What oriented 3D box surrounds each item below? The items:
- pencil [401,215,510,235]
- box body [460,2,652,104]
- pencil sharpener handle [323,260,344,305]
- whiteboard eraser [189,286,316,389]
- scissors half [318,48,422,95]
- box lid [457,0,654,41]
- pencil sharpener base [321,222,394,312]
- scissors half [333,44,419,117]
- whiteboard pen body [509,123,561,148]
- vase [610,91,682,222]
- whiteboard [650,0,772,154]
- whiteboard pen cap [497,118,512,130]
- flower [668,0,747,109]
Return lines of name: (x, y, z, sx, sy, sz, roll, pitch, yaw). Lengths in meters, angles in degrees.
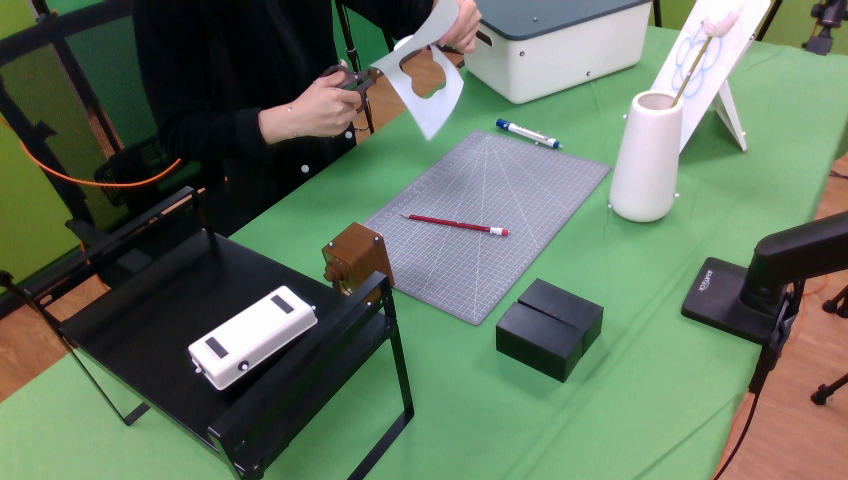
pencil: (0.049, -0.027, 1.007, 0.193, 0.012, 0.012, 10, 43, 21)
box body: (0.291, -0.465, 1.371, 0.365, 0.161, 0.252, -22, 42, -16)
pencil sharpener handle: (-0.131, 0.062, 0.839, 0.035, 0.068, 0.031, 29, 55, 28)
whiteboard eraser: (-0.166, 0.096, 0.593, 0.113, 0.042, 0.055, -36, 47, -29)
scissors half: (-0.085, -0.262, 0.925, 0.174, 0.040, 0.013, -14, 32, 15)
box lid: (0.285, -0.522, 1.323, 0.373, 0.015, 0.261, -22, 43, -16)
pencil sharpener base: (-0.096, 0.041, 0.873, 0.061, 0.107, 0.077, 26, 54, 32)
scissors half: (-0.074, -0.246, 0.933, 0.174, 0.040, 0.013, -36, 19, 25)
whiteboard pen body: (0.209, -0.211, 1.195, 0.139, 0.017, 0.017, 30, 52, 33)
vase: (0.348, -0.125, 0.935, 0.098, 0.201, 0.097, -3, 40, 3)
whiteboard: (0.543, -0.298, 1.076, 0.144, 0.305, 0.216, 12, 40, -7)
whiteboard pen cap: (0.165, -0.235, 1.227, 0.033, 0.018, 0.018, 31, 53, 31)
flower: (0.354, -0.187, 0.879, 0.038, 0.362, 0.044, 30, 48, 14)
